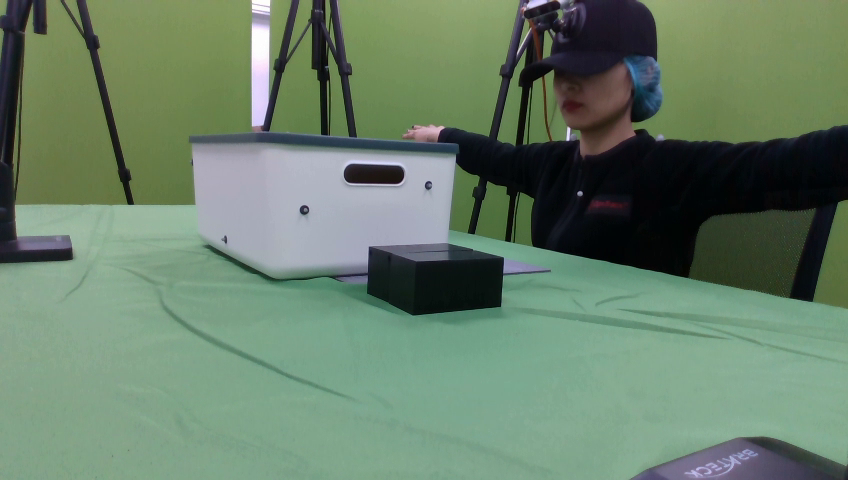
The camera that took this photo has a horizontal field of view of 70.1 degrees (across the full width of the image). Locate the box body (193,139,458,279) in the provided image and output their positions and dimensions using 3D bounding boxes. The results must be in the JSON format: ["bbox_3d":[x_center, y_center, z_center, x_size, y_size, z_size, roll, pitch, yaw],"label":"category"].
[{"bbox_3d":[-0.154,-0.059,0.840,0.255,0.160,0.362,-2,9,-33],"label":"box body"}]

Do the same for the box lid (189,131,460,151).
[{"bbox_3d":[-0.150,-0.132,0.828,0.265,0.015,0.369,-3,9,-33],"label":"box lid"}]
